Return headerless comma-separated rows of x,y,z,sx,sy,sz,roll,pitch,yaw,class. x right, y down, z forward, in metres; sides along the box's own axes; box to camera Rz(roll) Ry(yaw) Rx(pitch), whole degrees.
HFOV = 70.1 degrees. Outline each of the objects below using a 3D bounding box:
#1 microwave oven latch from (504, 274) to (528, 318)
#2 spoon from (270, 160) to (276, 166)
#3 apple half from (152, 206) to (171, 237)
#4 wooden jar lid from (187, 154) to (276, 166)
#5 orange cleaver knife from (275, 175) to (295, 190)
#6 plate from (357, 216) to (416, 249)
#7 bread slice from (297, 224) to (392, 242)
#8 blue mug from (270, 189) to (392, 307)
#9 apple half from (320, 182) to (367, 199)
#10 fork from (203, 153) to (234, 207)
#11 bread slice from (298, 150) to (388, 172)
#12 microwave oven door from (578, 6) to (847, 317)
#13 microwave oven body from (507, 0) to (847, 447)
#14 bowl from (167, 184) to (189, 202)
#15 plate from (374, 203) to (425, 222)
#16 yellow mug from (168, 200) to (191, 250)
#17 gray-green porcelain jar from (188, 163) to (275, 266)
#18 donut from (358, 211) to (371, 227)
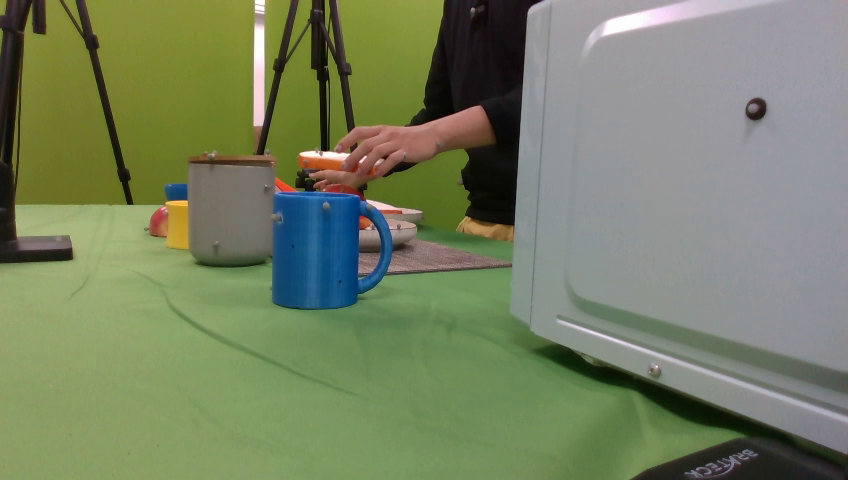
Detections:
0.100,0.041,0.471,0.079,0.029,0.030,-1,8,-28,microwave oven latch
-0.396,-0.150,1.548,0.042,0.193,0.021,3,-37,-4,spoon
-0.415,-0.034,1.017,0.081,0.053,0.074,1,10,-8,apple half
-0.244,-0.097,0.771,0.108,0.020,0.108,-1,7,0,wooden jar lid
-0.283,-0.087,1.343,0.212,0.077,0.012,24,-16,-41,orange cleaver knife
-0.116,-0.014,0.967,0.208,0.039,0.207,2,7,0,plate
-0.120,-0.013,0.970,0.106,0.018,0.135,7,8,41,bread slice
-0.089,0.005,0.588,0.117,0.106,0.082,1,7,-10,blue mug
-0.128,-0.076,0.950,0.081,0.033,0.081,3,14,0,apple half
-0.480,-0.134,1.411,0.028,0.018,0.207,1,-35,0,fork
-0.129,-0.124,0.938,0.131,0.019,0.105,6,13,4,bread slice
0.294,-0.067,0.570,0.358,0.243,0.039,-3,9,-31,microwave oven door
0.331,-0.042,0.425,0.444,0.260,0.324,-2,8,-31,microwave oven body
-0.408,-0.064,1.154,0.151,0.077,0.151,2,8,0,bowl
-0.102,-0.053,1.299,0.209,0.038,0.209,2,8,0,plate
-0.319,-0.023,0.904,0.130,0.064,0.100,8,10,36,yellow mug
-0.246,-0.034,0.780,0.106,0.126,0.106,2,7,0,gray-green porcelain jar
-0.129,-0.041,0.956,0.099,0.048,0.099,2,8,0,donut
